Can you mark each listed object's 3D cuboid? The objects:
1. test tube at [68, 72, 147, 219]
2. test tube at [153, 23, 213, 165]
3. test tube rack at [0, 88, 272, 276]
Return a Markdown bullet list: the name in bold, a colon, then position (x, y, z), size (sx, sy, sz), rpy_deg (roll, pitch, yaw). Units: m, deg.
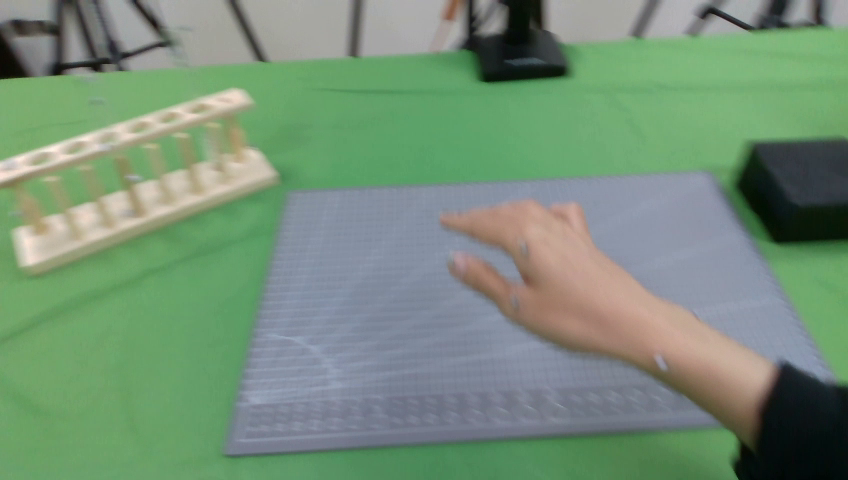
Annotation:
- **test tube**: position (-0.285, -0.081, 0.550), size (0.017, 0.152, 0.017), rpy_deg (-2, 41, 2)
- **test tube**: position (-0.235, -0.139, 0.603), size (0.017, 0.151, 0.017), rpy_deg (-4, 40, 3)
- **test tube rack**: position (-0.282, -0.063, 0.595), size (0.242, 0.086, 0.066), rpy_deg (-26, 48, -23)
